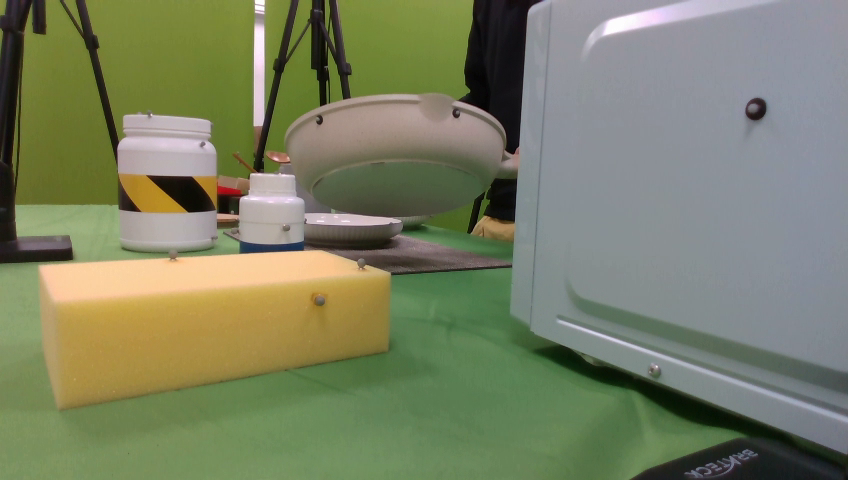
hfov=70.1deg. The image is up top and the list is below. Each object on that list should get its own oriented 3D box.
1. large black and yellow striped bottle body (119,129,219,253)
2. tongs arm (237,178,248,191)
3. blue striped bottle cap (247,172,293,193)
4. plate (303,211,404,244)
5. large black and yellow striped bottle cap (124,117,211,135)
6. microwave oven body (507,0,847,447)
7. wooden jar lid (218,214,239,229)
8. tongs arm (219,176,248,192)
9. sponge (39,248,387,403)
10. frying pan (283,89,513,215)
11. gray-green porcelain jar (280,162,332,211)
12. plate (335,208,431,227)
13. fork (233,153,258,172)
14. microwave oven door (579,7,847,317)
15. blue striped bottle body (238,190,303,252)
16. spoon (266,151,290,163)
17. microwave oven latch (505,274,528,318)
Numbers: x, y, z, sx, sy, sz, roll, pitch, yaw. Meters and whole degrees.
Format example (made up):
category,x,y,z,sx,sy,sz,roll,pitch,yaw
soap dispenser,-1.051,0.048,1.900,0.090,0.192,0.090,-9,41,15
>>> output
category,x,y,z,sx,sy,sz,roll,pitch,yaw
large black and yellow striped bottle body,-0.367,-0.080,0.876,0.131,0.184,0.130,2,7,0
tongs arm,-0.242,-0.095,1.374,0.387,0.026,0.050,9,0,-37
blue striped bottle cap,-0.152,-0.057,0.598,0.044,0.020,0.044,3,6,0
plate,-0.139,-0.022,1.021,0.209,0.038,0.209,2,8,0
large black and yellow striped bottle cap,-0.366,-0.163,0.866,0.115,0.019,0.115,3,7,0
microwave oven body,0.331,-0.042,0.425,0.444,0.260,0.324,-2,8,-31
wooden jar lid,-0.404,-0.037,1.169,0.108,0.020,0.108,3,7,0
tongs arm,-0.286,-0.104,1.445,0.389,0.027,0.028,9,-4,-23
sponge,-0.142,0.047,0.420,0.208,0.061,0.117,-3,8,-36
frying pan,0.060,-0.110,0.835,0.490,0.102,0.306,-6,-11,-21
gray-green porcelain jar,-0.238,-0.092,1.221,0.106,0.126,0.106,2,8,0
plate,-0.089,-0.053,1.309,0.208,0.039,0.207,2,8,0
fork,-0.396,-0.143,1.486,0.028,0.018,0.208,21,-25,45
microwave oven door,0.294,-0.067,0.570,0.358,0.243,0.039,-3,9,-31
blue striped bottle body,-0.153,-0.007,0.605,0.063,0.120,0.063,2,7,0
spoon,-0.217,-0.172,1.219,0.194,0.021,0.041,-6,31,-12
microwave oven latch,0.100,0.041,0.472,0.079,0.029,0.030,-2,8,-31
